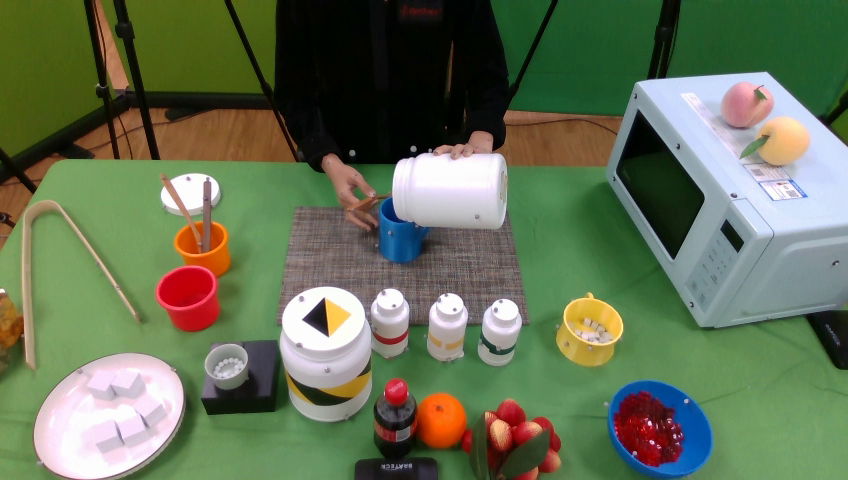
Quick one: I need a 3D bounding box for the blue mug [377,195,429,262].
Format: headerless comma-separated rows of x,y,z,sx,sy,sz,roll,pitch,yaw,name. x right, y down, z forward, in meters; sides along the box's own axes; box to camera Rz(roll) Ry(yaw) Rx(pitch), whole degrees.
-0.034,-0.028,1.159,0.116,0.106,0.082,-23,53,-24,blue mug

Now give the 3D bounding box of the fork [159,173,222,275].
-0.427,-0.029,1.103,0.028,0.018,0.207,-31,99,-31,fork

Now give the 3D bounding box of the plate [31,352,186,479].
-0.459,0.262,0.898,0.209,0.038,0.208,2,46,-2,plate

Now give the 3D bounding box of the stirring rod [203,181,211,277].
-0.396,-0.021,1.107,0.014,0.006,0.176,-1,89,-1,stirring rod

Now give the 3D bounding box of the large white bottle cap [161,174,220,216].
-0.483,-0.095,1.253,0.115,0.018,0.114,2,46,-2,large white bottle cap

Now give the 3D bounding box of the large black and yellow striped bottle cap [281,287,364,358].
-0.141,0.112,0.847,0.115,0.019,0.114,5,45,-4,large black and yellow striped bottle cap

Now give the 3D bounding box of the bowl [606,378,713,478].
0.340,0.292,0.906,0.151,0.077,0.150,2,46,-2,bowl

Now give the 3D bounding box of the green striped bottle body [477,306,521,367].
0.124,0.151,0.995,0.063,0.120,0.063,2,46,-2,green striped bottle body

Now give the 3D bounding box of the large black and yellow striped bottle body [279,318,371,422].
-0.145,0.173,0.907,0.131,0.185,0.130,2,46,-2,large black and yellow striped bottle body

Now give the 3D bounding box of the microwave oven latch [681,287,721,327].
0.494,0.119,1.087,0.030,0.029,0.078,-6,46,-9,microwave oven latch

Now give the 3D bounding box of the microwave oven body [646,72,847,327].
0.607,-0.089,1.164,0.326,0.261,0.438,-7,46,-10,microwave oven body

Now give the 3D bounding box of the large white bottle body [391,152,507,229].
0.045,-0.087,1.055,0.184,0.131,0.130,2,45,16,large white bottle body

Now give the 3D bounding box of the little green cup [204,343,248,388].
-0.294,0.190,0.909,0.061,0.039,0.061,1,48,-1,little green cup

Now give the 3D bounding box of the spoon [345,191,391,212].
-0.090,-0.080,1.159,0.041,0.022,0.194,13,19,30,spoon

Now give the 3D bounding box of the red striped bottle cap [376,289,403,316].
-0.054,0.098,0.958,0.044,0.018,0.044,0,48,1,red striped bottle cap

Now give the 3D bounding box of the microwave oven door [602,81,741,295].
0.456,-0.107,1.162,0.039,0.245,0.353,-7,47,-11,microwave oven door

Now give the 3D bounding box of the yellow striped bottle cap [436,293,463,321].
0.041,0.106,0.959,0.044,0.019,0.044,0,47,0,yellow striped bottle cap

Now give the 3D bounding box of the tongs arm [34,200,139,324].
-0.622,0.034,1.105,0.051,0.026,0.382,-32,56,-25,tongs arm

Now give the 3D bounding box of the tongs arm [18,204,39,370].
-0.698,0.069,1.069,0.028,0.028,0.385,-21,50,-13,tongs arm

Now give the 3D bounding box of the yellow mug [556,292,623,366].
0.285,0.145,1.051,0.100,0.064,0.130,7,45,3,yellow mug

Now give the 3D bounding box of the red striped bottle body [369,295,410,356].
-0.059,0.135,0.997,0.063,0.120,0.062,6,49,-6,red striped bottle body

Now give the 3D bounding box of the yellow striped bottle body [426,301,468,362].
0.037,0.142,0.996,0.063,0.121,0.062,3,46,-2,yellow striped bottle body

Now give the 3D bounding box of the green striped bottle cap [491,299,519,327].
0.128,0.115,0.958,0.044,0.020,0.044,1,47,-1,green striped bottle cap
